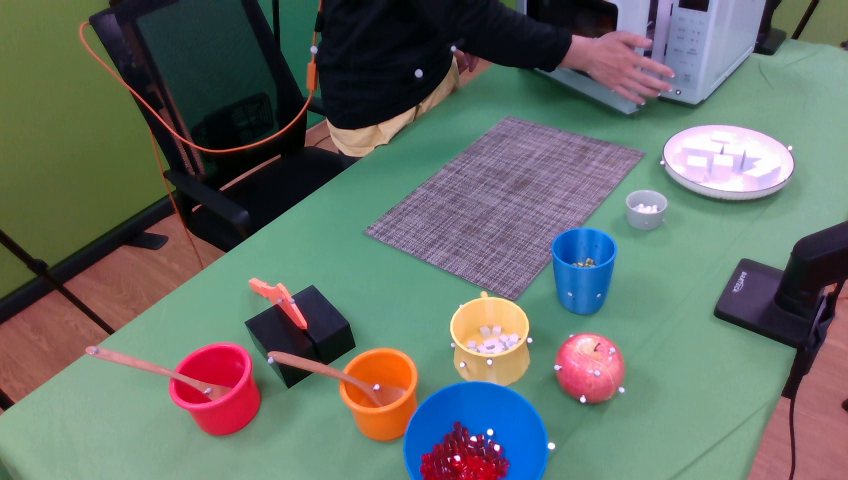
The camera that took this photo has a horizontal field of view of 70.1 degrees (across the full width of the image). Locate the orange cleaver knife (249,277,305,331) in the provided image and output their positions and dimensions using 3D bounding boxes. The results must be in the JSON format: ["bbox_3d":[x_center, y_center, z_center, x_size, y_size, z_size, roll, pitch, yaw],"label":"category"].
[{"bbox_3d":[-0.210,0.088,0.855,0.012,0.077,0.210,-28,15,-25],"label":"orange cleaver knife"}]

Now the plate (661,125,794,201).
[{"bbox_3d":[0.513,-0.128,1.035,0.207,0.039,0.206,-4,40,4],"label":"plate"}]

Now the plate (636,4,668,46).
[{"bbox_3d":[0.440,-0.482,1.367,0.209,0.038,0.208,-4,41,4],"label":"plate"}]

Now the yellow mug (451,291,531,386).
[{"bbox_3d":[0.086,0.120,0.786,0.100,0.064,0.130,-7,39,1],"label":"yellow mug"}]

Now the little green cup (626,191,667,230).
[{"bbox_3d":[0.352,-0.046,0.963,0.061,0.039,0.061,-4,40,4],"label":"little green cup"}]

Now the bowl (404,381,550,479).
[{"bbox_3d":[0.058,0.235,0.645,0.151,0.077,0.150,-4,39,4],"label":"bowl"}]

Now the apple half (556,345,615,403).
[{"bbox_3d":[0.181,0.167,0.709,0.080,0.081,0.033,29,50,35],"label":"apple half"}]

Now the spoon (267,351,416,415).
[{"bbox_3d":[-0.091,0.162,0.700,0.021,0.195,0.041,-45,30,26],"label":"spoon"}]

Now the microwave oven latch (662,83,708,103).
[{"bbox_3d":[0.519,-0.297,1.204,0.030,0.029,0.078,-37,47,-29],"label":"microwave oven latch"}]

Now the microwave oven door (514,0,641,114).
[{"bbox_3d":[0.308,-0.432,1.239,0.039,0.245,0.352,-27,44,-21],"label":"microwave oven door"}]

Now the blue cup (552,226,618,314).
[{"bbox_3d":[0.218,0.047,0.826,0.092,0.101,0.092,-6,40,5],"label":"blue cup"}]

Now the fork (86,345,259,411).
[{"bbox_3d":[-0.298,0.166,0.728,0.209,0.018,0.028,28,46,-23],"label":"fork"}]

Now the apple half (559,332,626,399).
[{"bbox_3d":[0.209,0.147,0.730,0.080,0.075,0.053,26,48,38],"label":"apple half"}]

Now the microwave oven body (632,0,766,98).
[{"bbox_3d":[0.472,-0.513,1.317,0.438,0.261,0.327,26,51,34],"label":"microwave oven body"}]
